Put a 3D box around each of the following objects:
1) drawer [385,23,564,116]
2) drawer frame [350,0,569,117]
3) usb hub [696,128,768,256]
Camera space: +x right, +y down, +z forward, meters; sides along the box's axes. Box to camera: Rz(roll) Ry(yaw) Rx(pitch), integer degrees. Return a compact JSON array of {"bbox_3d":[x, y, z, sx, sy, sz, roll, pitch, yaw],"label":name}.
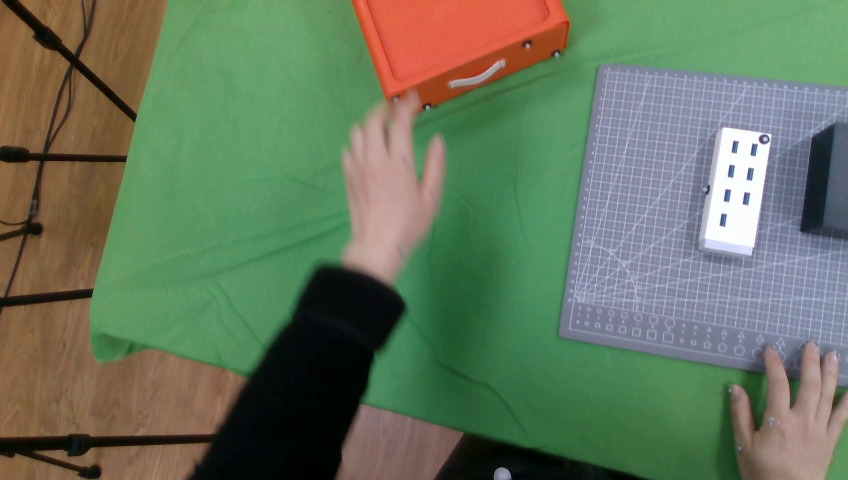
[{"bbox_3d":[0.023,-0.269,0.659,0.194,0.073,0.211,-21,80,7],"label":"drawer"},{"bbox_3d":[0.022,-0.271,0.656,0.201,0.083,0.212,-22,81,7],"label":"drawer frame"},{"bbox_3d":[0.313,-0.049,0.615,0.049,0.025,0.125,10,86,10],"label":"usb hub"}]
